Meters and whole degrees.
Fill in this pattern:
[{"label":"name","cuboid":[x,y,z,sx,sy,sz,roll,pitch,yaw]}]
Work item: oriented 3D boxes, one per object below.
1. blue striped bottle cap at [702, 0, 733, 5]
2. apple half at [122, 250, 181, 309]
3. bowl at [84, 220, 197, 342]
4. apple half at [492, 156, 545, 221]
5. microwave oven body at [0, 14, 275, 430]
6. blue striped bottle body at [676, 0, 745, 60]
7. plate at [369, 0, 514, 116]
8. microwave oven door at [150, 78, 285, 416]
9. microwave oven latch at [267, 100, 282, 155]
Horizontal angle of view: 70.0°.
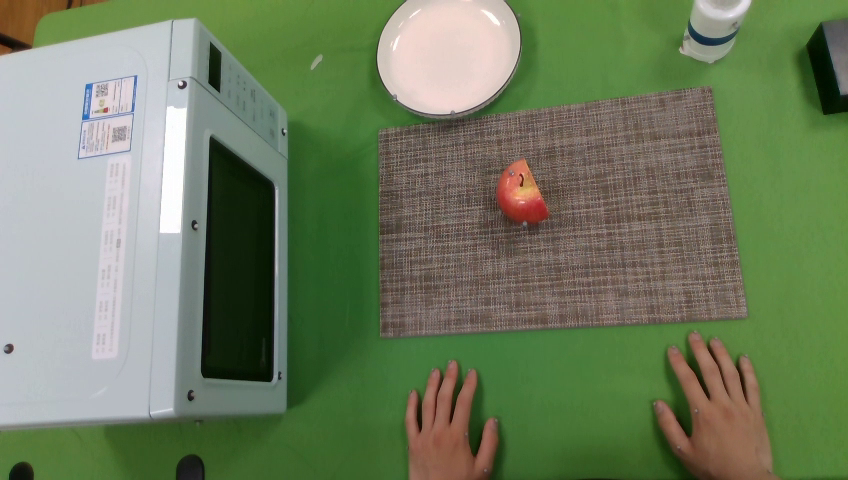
[{"label":"blue striped bottle cap","cuboid":[0.343,-0.295,0.700,0.044,0.021,0.044,-2,78,12]},{"label":"apple half","cuboid":[-0.353,0.051,0.776,0.081,0.033,0.081,0,89,5]},{"label":"bowl","cuboid":[-0.351,0.054,0.786,0.151,0.077,0.151,-1,86,17]},{"label":"apple half","cuboid":[0.114,-0.059,0.768,0.053,0.075,0.080,-25,76,10]},{"label":"microwave oven body","cuboid":[-0.377,0.002,0.764,0.325,0.262,0.439,-6,76,10]},{"label":"blue striped bottle body","cuboid":[0.354,-0.281,0.748,0.063,0.121,0.062,-3,75,12]},{"label":"plate","cuboid":[0.026,-0.268,0.863,0.207,0.039,0.206,-3,76,11]},{"label":"microwave oven door","cuboid":[-0.233,0.024,0.721,0.039,0.245,0.353,-7,75,11]},{"label":"microwave oven latch","cuboid":[-0.221,-0.161,0.872,0.030,0.030,0.078,-6,76,10]}]
